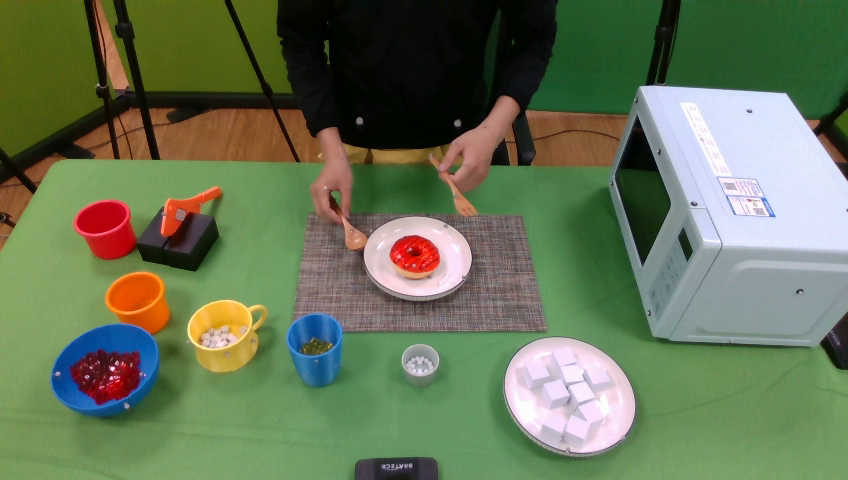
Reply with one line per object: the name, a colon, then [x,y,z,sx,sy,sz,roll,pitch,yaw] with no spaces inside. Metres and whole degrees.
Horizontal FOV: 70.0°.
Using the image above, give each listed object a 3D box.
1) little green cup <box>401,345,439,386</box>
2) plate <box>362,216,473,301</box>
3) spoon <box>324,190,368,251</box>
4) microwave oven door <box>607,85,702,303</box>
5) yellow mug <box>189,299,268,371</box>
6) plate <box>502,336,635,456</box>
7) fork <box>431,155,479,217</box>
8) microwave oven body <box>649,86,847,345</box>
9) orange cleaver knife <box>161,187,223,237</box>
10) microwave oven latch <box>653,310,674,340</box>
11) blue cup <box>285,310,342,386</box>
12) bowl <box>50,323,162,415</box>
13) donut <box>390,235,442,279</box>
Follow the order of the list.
little green cup: [-0.007,0.206,0.988,0.061,0.039,0.061,2,47,-2]
plate: [-0.012,0.038,1.144,0.209,0.038,0.208,2,46,-2]
spoon: [-0.157,-0.043,1.177,0.041,0.022,0.192,-32,53,-3]
microwave oven door: [0.424,-0.094,1.141,0.039,0.245,0.353,2,46,-1]
yellow mug: [-0.316,0.148,1.002,0.131,0.064,0.099,-32,56,-31]
plate: [0.225,0.248,0.963,0.208,0.039,0.206,2,46,-2]
fork: [0.050,-0.101,1.089,0.028,0.019,0.206,-23,45,-6]
microwave oven body: [0.568,-0.053,1.118,0.326,0.261,0.439,2,45,-1]
orange cleaver knife: [-0.448,-0.058,1.181,0.012,0.077,0.211,13,17,6]
microwave oven latch: [0.417,0.136,1.059,0.030,0.029,0.079,11,46,8]
blue cup: [-0.170,0.179,0.958,0.093,0.101,0.092,2,44,-1]
bowl: [-0.472,0.209,0.924,0.151,0.077,0.150,3,45,-2]
donut: [-0.016,0.032,1.135,0.099,0.048,0.098,3,44,-3]
